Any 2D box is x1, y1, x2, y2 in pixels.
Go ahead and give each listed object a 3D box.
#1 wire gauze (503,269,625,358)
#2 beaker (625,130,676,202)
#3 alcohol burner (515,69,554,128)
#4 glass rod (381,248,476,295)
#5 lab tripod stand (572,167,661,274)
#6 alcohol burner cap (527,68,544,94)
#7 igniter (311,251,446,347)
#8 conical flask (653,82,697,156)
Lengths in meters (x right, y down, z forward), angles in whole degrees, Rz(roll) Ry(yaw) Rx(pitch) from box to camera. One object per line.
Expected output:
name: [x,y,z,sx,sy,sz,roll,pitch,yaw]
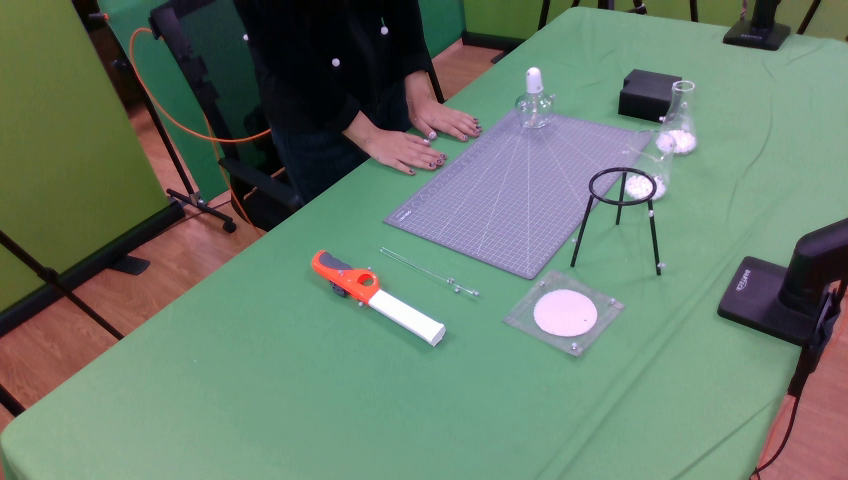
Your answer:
wire gauze: [0.194,0.100,0.840,0.120,0.011,0.125,27,54,36]
beaker: [0.369,-0.117,0.992,0.074,0.101,0.083,-7,41,5]
alcohol burner: [0.221,-0.285,1.203,0.078,0.119,0.077,-4,39,4]
glass rod: [0.002,0.047,0.939,0.198,0.008,0.008,23,50,36]
lab tripod stand: [0.283,-0.030,0.879,0.148,0.132,0.147,-7,38,6]
alcohol burner cap: [0.216,-0.312,1.179,0.034,0.048,0.033,-10,40,9]
igniter: [-0.078,0.081,0.899,0.274,0.025,0.057,27,62,35]
conical flask: [0.454,-0.218,1.077,0.075,0.122,0.075,-5,40,5]
